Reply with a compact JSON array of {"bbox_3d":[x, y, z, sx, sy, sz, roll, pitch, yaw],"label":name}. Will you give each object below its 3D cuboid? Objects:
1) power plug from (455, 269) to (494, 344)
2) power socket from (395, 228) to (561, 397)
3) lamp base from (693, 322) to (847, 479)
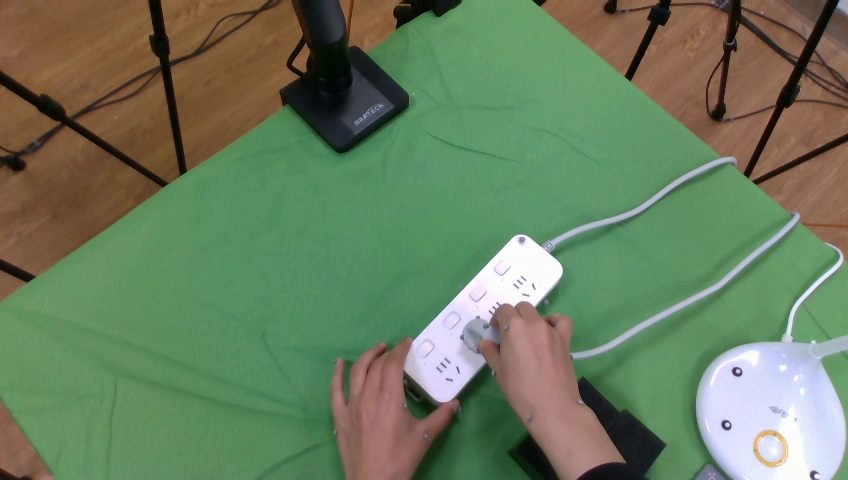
[{"bbox_3d":[0.055,0.073,0.627,0.035,0.052,0.072,32,57,-15],"label":"power plug"},{"bbox_3d":[0.062,0.075,0.661,0.072,0.033,0.226,43,71,11],"label":"power socket"},{"bbox_3d":[0.373,0.138,0.578,0.160,0.181,0.178,18,65,3],"label":"lamp base"}]
